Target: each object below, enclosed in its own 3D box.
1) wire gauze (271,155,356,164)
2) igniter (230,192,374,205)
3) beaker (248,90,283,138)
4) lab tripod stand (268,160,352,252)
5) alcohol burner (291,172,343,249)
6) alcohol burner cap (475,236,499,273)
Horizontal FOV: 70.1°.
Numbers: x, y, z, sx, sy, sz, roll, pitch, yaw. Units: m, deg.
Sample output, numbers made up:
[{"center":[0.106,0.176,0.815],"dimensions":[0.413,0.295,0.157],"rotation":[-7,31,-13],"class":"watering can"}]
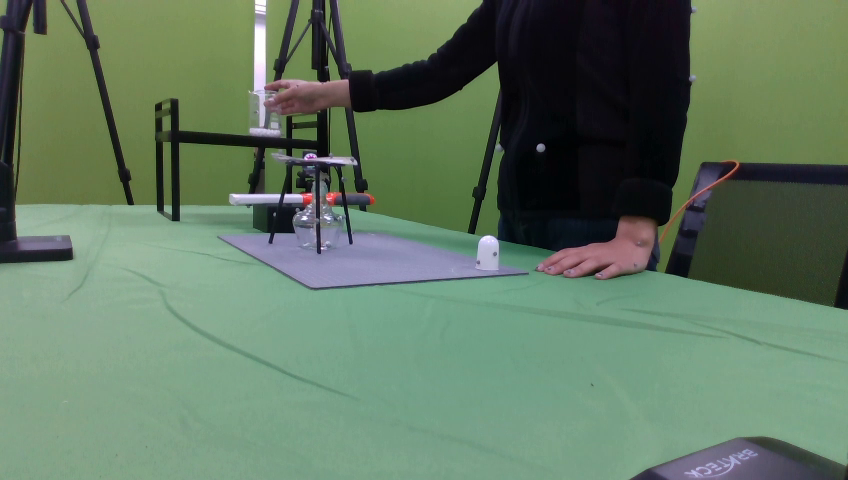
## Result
[{"center":[-0.167,-0.122,0.917],"dimensions":[0.125,0.011,0.121],"rotation":[0,8,-9],"class":"wire gauze"},{"center":[-0.228,-0.079,1.164],"dimensions":[0.278,0.025,0.057],"rotation":[-2,14,-29],"class":"igniter"},{"center":[-0.354,-0.278,1.340],"dimensions":[0.073,0.100,0.084],"rotation":[6,9,26],"class":"beaker"},{"center":[-0.171,-0.055,0.921],"dimensions":[0.148,0.131,0.148],"rotation":[1,8,0],"class":"lab tripod stand"},{"center":[-0.162,-0.045,0.922],"dimensions":[0.078,0.119,0.078],"rotation":[5,7,0],"class":"alcohol burner"},{"center":[0.084,0.018,0.799],"dimensions":[0.034,0.048,0.034],"rotation":[2,6,0],"class":"alcohol burner cap"}]
